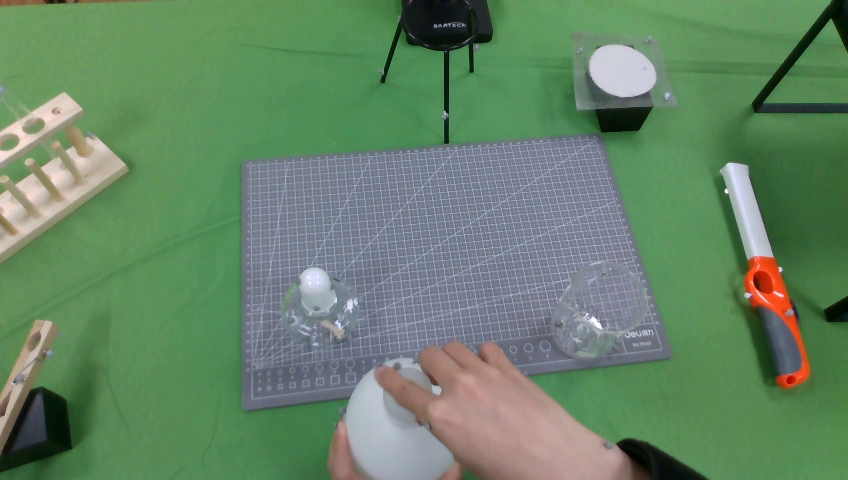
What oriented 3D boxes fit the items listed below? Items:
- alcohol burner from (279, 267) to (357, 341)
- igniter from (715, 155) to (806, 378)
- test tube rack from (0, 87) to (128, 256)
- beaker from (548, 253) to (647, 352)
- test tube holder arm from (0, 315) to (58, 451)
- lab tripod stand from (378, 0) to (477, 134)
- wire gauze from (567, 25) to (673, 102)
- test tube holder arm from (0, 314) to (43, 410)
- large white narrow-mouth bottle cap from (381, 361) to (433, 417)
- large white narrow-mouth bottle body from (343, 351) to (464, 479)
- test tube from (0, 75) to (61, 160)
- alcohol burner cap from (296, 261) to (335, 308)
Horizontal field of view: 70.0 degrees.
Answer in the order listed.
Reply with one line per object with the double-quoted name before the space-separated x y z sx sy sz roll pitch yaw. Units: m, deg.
"alcohol burner" -0.104 0.055 0.593 0.078 0.120 0.077 3 62 -4
"igniter" 0.383 0.022 0.695 0.057 0.025 0.274 5 63 -13
"test tube rack" -0.450 -0.049 0.639 0.066 0.086 0.242 40 68 15
"beaker" 0.167 0.068 0.614 0.084 0.101 0.073 -4 63 -5
"test tube holder arm" -0.365 0.151 0.532 0.013 0.015 0.177 6 64 6
"lab tripod stand" 0.014 -0.224 0.732 0.148 0.132 0.147 2 64 -5
"wire gauze" 0.243 -0.222 0.762 0.121 0.011 0.124 2 63 -3
"test tube holder arm" -0.365 0.110 0.552 0.010 0.015 0.087 5 64 5
"large white narrow-mouth bottle cap" -0.013 0.105 0.426 0.038 0.024 0.037 2 63 -3
"large white narrow-mouth bottle body" -0.018 0.150 0.511 0.102 0.196 0.101 1 63 -3
"test tube" -0.414 -0.131 0.626 0.017 0.151 0.017 0 62 0
"alcohol burner cap" -0.102 0.039 0.561 0.034 0.048 0.033 0 59 0
